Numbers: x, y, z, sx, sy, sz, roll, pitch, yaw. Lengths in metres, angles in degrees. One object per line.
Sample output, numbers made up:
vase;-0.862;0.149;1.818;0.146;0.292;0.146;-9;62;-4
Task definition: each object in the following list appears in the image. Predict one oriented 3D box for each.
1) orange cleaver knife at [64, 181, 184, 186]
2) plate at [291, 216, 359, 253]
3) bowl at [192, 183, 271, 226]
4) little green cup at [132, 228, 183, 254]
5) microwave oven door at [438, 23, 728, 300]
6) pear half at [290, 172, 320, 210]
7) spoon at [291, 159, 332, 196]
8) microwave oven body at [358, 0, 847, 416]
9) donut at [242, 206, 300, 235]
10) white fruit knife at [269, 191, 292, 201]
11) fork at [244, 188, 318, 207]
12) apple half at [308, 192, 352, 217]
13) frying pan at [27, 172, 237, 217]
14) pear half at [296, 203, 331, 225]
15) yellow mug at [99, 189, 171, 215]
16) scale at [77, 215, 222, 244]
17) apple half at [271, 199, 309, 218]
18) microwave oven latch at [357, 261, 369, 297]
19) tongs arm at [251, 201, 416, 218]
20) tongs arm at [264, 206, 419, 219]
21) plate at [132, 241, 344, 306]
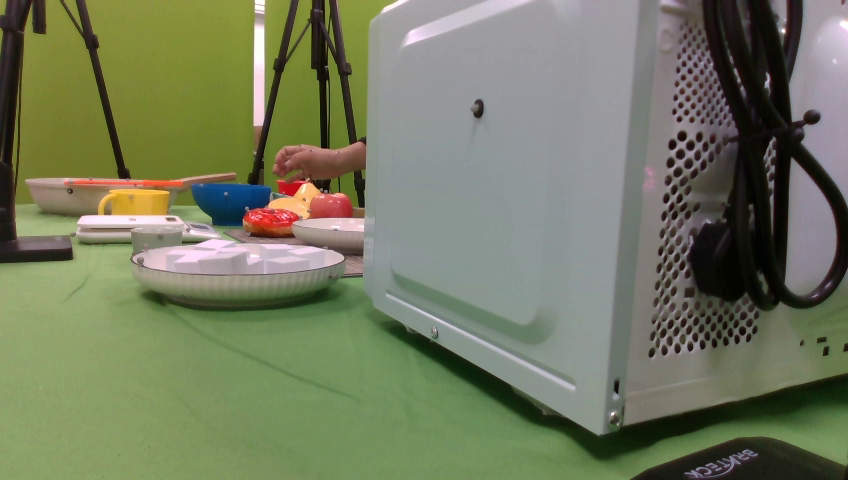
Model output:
orange cleaver knife;-0.595;-0.114;1.212;0.212;0.012;0.077;-4;6;-41
plate;-0.103;-0.009;0.945;0.209;0.038;0.209;2;8;0
bowl;-0.382;-0.070;1.202;0.151;0.077;0.151;3;7;0
little green cup;-0.342;0.006;0.779;0.061;0.038;0.061;2;8;0
microwave oven door;0.181;-0.073;0.621;0.358;0.243;0.039;-2;8;-29
pear half;-0.229;-0.077;1.182;0.076;0.110;0.056;-2;8;2
spoon;-0.316;-0.159;1.640;0.194;0.022;0.041;-50;32;-20
microwave oven body;0.211;-0.047;0.474;0.444;0.260;0.324;-1;7;-28
donut;-0.263;-0.032;1.039;0.099;0.048;0.099;4;10;0
white fruit knife;-0.364;-0.105;1.464;0.208;0.027;0.016;15;-1;-34
fork;-0.356;-0.105;1.526;0.208;0.018;0.028;16;-5;-41
apple half;-0.165;-0.050;1.106;0.081;0.074;0.053;2;10;-41
frying pan;-0.624;-0.118;1.387;0.305;0.102;0.490;8;17;32
pear half;-0.229;-0.050;1.258;0.070;0.031;0.088;-1;21;-2
yellow mug;-0.518;-0.055;1.080;0.099;0.064;0.131;6;9;26
scale;-0.434;-0.019;0.963;0.202;0.031;0.148;-1;9;-27
apple half;-0.254;-0.039;1.143;0.081;0.032;0.081;17;46;-18
microwave oven latch;-0.019;0.033;0.530;0.079;0.029;0.030;-1;7;-27
tongs arm;-0.209;-0.072;1.439;0.389;0.027;0.028;1;1;-17
tongs arm;-0.173;-0.062;1.362;0.387;0.026;0.050;-1;6;-31
plate;-0.187;0.033;0.625;0.208;0.039;0.207;2;7;0
